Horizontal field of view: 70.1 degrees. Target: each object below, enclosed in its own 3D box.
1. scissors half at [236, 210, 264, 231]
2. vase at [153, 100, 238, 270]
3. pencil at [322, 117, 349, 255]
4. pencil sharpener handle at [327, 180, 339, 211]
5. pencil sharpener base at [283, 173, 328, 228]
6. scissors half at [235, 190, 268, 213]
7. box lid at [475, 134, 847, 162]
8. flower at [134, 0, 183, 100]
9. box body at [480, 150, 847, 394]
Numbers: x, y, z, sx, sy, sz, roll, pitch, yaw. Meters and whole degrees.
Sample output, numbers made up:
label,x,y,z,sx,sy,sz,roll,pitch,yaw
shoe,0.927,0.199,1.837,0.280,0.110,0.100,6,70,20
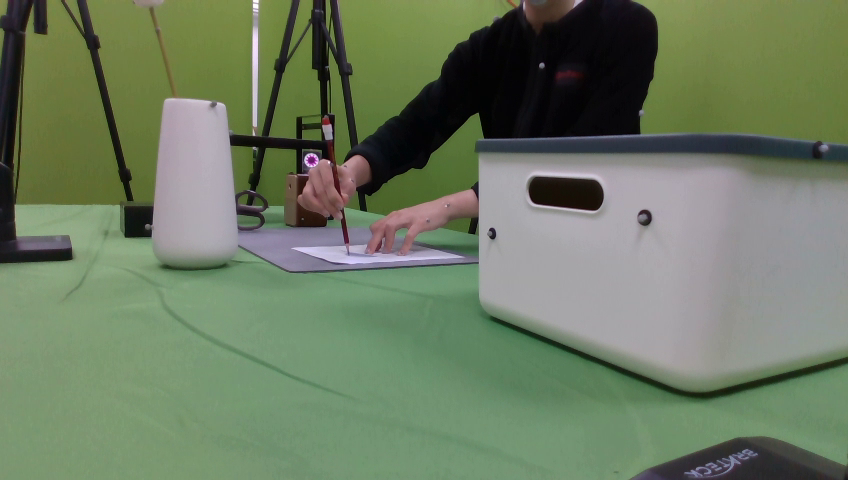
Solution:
label,x,y,z,sx,sy,sz,roll,pitch,yaw
scissors half,-0.369,-0.051,1.065,0.176,0.040,0.012,19,13,-27
vase,-0.278,-0.066,0.736,0.098,0.200,0.098,2,9,0
pencil,-0.119,-0.071,0.828,0.012,0.194,0.012,-7,16,2
pencil sharpener handle,-0.194,-0.094,1.256,0.031,0.067,0.036,-2,-6,-36
pencil sharpener base,-0.239,-0.081,1.231,0.077,0.107,0.061,-2,8,-36
scissors half,-0.363,-0.070,1.060,0.176,0.040,0.013,0,16,-23
box lid,0.256,-0.073,0.528,0.373,0.015,0.262,-2,8,-31
flower,-0.282,-0.147,0.713,0.038,0.362,0.044,-23,24,-31
box body,0.254,0.002,0.539,0.366,0.160,0.253,-2,8,-31
